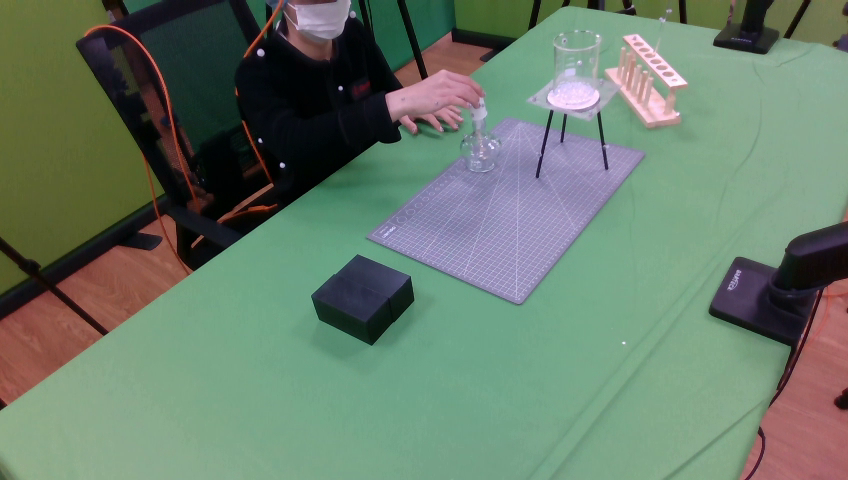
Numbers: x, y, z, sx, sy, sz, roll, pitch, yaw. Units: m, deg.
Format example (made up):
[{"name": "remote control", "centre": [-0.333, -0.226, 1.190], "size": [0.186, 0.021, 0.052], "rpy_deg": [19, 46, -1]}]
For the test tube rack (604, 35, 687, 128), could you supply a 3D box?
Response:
[{"name": "test tube rack", "centre": [0.447, -0.330, 1.241], "size": [0.067, 0.085, 0.241], "rpy_deg": [-9, 41, -2]}]

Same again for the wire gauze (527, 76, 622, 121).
[{"name": "wire gauze", "centre": [0.255, -0.247, 1.031], "size": [0.124, 0.011, 0.122], "rpy_deg": [23, 49, 34]}]

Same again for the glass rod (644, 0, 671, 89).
[{"name": "glass rod", "centre": [0.463, -0.387, 1.204], "size": [0.008, 0.200, 0.008], "rpy_deg": [0, 47, 1]}]

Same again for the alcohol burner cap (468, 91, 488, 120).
[{"name": "alcohol burner cap", "centre": [0.091, -0.235, 1.047], "size": [0.034, 0.048, 0.033], "rpy_deg": [-10, 43, 10]}]

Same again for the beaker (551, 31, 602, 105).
[{"name": "beaker", "centre": [0.252, -0.282, 0.998], "size": [0.084, 0.101, 0.073], "rpy_deg": [-16, 42, -7]}]

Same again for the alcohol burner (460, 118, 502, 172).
[{"name": "alcohol burner", "centre": [0.102, -0.185, 1.098], "size": [0.078, 0.119, 0.077], "rpy_deg": [-6, 40, 5]}]

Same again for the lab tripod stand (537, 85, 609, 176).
[{"name": "lab tripod stand", "centre": [0.259, -0.192, 1.068], "size": [0.148, 0.132, 0.147], "rpy_deg": [-4, 43, 4]}]
